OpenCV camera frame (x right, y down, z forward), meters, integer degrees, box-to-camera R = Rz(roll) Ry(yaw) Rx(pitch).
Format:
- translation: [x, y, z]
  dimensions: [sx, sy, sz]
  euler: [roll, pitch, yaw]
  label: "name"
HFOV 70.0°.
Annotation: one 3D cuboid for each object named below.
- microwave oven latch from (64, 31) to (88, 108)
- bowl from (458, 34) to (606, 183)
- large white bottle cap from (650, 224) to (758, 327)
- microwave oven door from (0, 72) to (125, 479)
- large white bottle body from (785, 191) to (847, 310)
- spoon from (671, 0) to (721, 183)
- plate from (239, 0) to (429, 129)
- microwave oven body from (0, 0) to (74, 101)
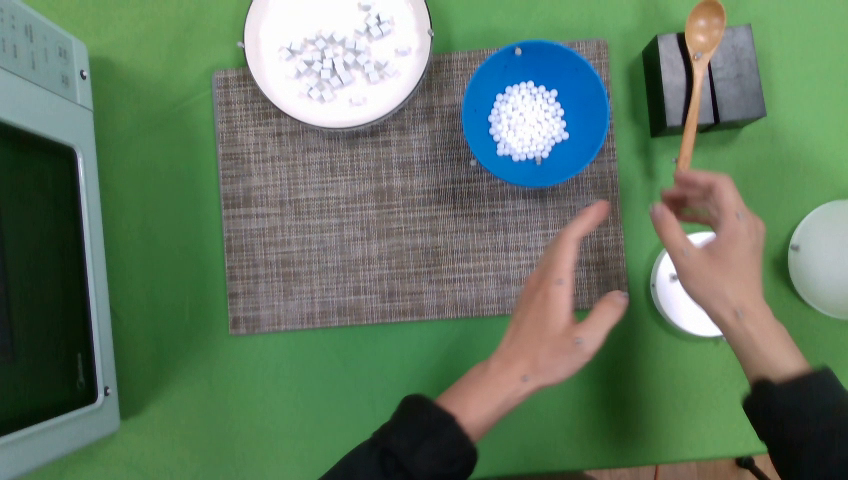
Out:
- translation: [-0.392, -0.185, 0.665]
  dimensions: [0.030, 0.029, 0.079]
  euler: [-7, 88, 0]
  label: "microwave oven latch"
- translation: [0.110, -0.131, 0.649]
  dimensions: [0.151, 0.077, 0.151]
  euler: [0, 88, 1]
  label: "bowl"
- translation: [0.311, 0.040, 0.674]
  dimensions: [0.115, 0.018, 0.114]
  euler: [0, 88, 0]
  label: "large white bottle cap"
- translation: [-0.370, 0.027, 0.556]
  dimensions: [0.039, 0.244, 0.355]
  euler: [-7, 88, 1]
  label: "microwave oven door"
- translation: [0.463, 0.007, 0.589]
  dimensions: [0.130, 0.185, 0.130]
  euler: [0, 87, 1]
  label: "large white bottle body"
- translation: [0.278, -0.157, 0.634]
  dimensions: [0.041, 0.021, 0.194]
  euler: [7, 93, -2]
  label: "spoon"
- translation: [-0.098, -0.222, 0.677]
  dimensions: [0.209, 0.038, 0.208]
  euler: [0, 85, 1]
  label: "plate"
- translation: [-0.520, 0.003, 0.564]
  dimensions: [0.326, 0.260, 0.441]
  euler: [-7, 88, 0]
  label: "microwave oven body"
